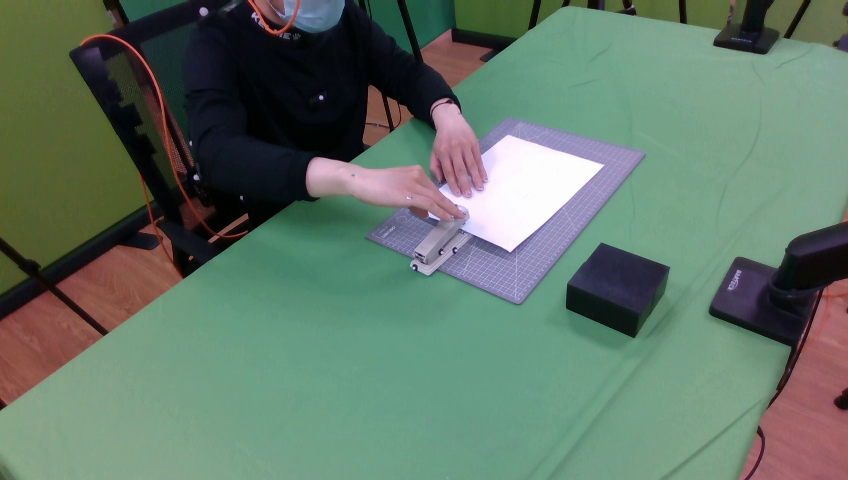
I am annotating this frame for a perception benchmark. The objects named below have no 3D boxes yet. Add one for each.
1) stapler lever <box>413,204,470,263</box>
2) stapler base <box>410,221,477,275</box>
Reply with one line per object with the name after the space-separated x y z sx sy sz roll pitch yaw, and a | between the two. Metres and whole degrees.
0.029 -0.013 0.939 0.026 0.040 0.118 24 50 34 | stapler lever
0.032 0.004 0.955 0.041 0.024 0.131 24 52 34 | stapler base
